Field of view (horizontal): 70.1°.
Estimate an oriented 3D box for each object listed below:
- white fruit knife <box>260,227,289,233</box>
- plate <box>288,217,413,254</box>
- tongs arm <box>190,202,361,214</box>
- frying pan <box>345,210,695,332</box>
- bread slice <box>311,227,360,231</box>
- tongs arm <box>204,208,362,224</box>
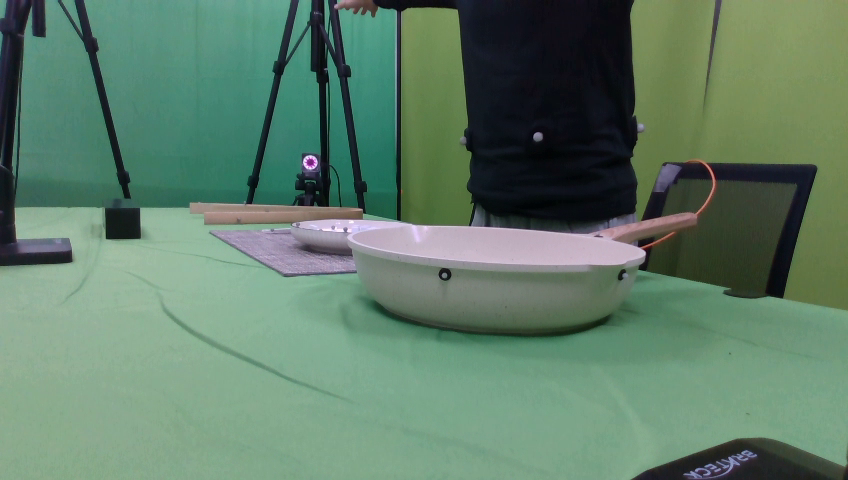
[{"bbox_3d":[-0.205,-0.022,1.136,0.208,0.016,0.027,-4,-20,-33],"label":"white fruit knife"},{"bbox_3d":[-0.109,-0.007,0.956,0.208,0.039,0.207,2,7,0],"label":"plate"},{"bbox_3d":[-0.333,-0.068,1.403,0.387,0.026,0.050,0,8,-28],"label":"tongs arm"},{"bbox_3d":[0.153,0.009,0.668,0.490,0.102,0.305,-12,15,-32],"label":"frying pan"},{"bbox_3d":[-0.115,-0.006,0.950,0.134,0.018,0.107,2,6,-7],"label":"bread slice"},{"bbox_3d":[-0.292,-0.054,1.337,0.390,0.028,0.028,-3,7,-40],"label":"tongs arm"}]
